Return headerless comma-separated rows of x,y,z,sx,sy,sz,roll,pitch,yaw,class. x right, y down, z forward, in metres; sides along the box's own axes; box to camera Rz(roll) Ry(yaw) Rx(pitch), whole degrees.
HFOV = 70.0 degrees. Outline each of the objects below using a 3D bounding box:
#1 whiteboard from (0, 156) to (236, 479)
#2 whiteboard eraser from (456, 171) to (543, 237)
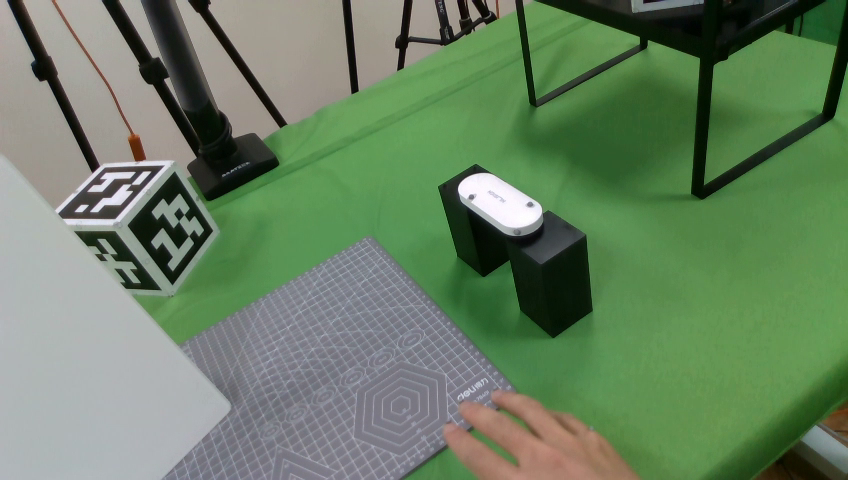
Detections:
-0.363,0.113,0.530,0.143,0.308,0.216,3,42,51,whiteboard
0.068,-0.036,0.561,0.041,0.019,0.100,-31,43,-18,whiteboard eraser
